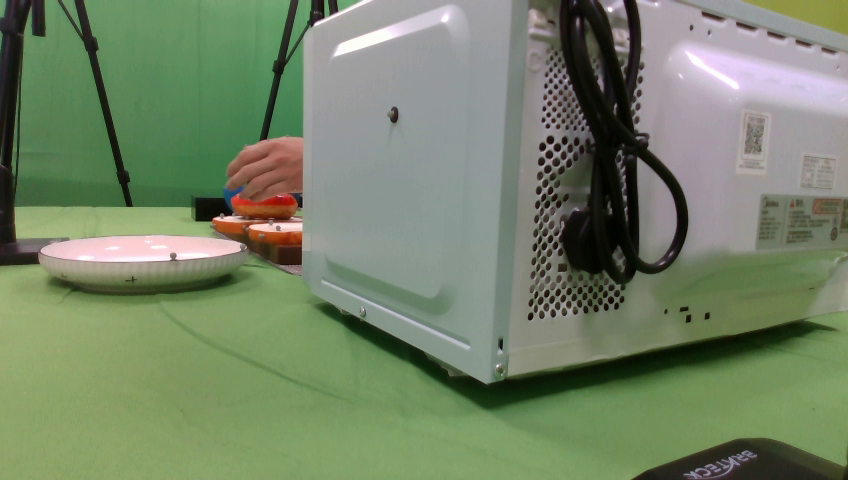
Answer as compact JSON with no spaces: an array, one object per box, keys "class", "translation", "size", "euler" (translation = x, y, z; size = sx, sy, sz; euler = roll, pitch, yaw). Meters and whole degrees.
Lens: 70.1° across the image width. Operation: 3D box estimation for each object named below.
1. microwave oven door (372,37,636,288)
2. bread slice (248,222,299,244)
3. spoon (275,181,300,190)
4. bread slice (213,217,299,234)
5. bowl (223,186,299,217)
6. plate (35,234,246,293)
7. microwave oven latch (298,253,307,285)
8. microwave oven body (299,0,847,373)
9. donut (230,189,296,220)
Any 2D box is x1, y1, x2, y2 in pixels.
[{"class":"microwave oven door","translation":[0.110,-0.080,0.686],"size":[0.358,0.243,0.039],"euler":[-2,9,-33]},{"class":"bread slice","translation":[-0.174,-0.012,0.844],"size":[0.135,0.018,0.106],"euler":[-6,10,-44]},{"class":"spoon","translation":[-0.301,-0.102,1.260],"size":[0.041,0.021,0.194],"euler":[13,30,33]},{"class":"bread slice","translation":[-0.256,-0.025,0.936],"size":[0.132,0.019,0.104],"euler":[-4,8,-40]},{"class":"bowl","translation":[-0.330,-0.068,1.230],"size":[0.151,0.077,0.151],"euler":[3,7,0]},{"class":"plate","translation":[-0.305,0.026,0.668],"size":[0.208,0.039,0.207],"euler":[3,7,0]},{"class":"microwave oven latch","translation":[-0.081,0.027,0.582],"size":[0.079,0.029,0.030],"euler":[-1,7,-32]},{"class":"microwave oven body","translation":[0.151,-0.055,0.542],"size":[0.444,0.260,0.324],"euler":[-2,7,-33]},{"class":"donut","translation":[-0.250,-0.055,0.941],"size":[0.099,0.048,0.099],"euler":[3,7,0]}]
